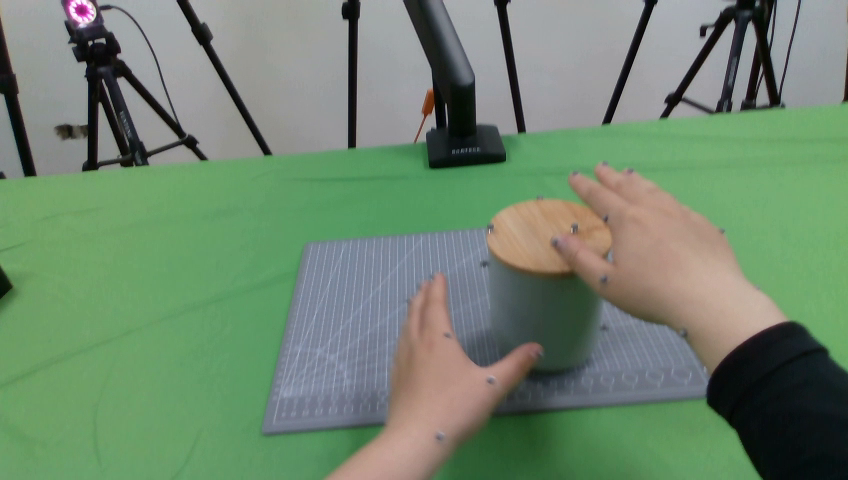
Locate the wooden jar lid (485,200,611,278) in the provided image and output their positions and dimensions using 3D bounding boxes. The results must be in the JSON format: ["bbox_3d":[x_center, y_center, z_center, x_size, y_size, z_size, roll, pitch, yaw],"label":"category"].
[{"bbox_3d":[0.107,0.002,0.530,0.108,0.021,0.107,-5,36,4],"label":"wooden jar lid"}]

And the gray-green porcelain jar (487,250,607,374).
[{"bbox_3d":[0.112,0.052,0.565,0.106,0.127,0.105,-4,35,3],"label":"gray-green porcelain jar"}]
